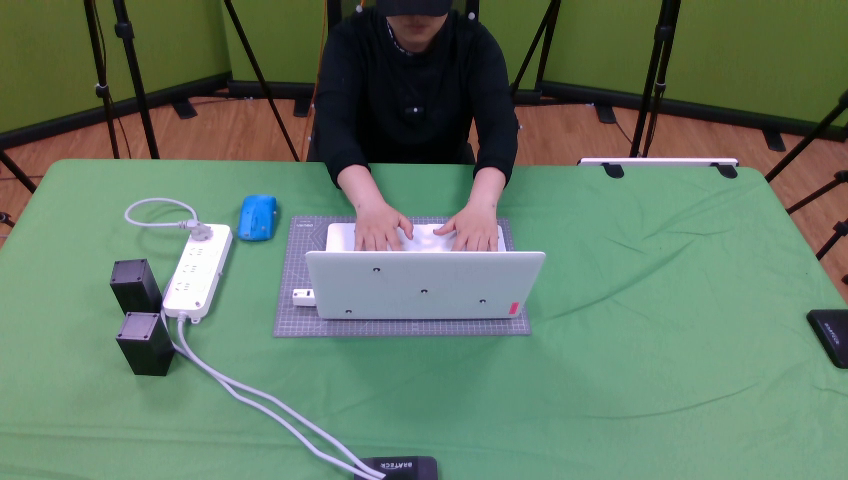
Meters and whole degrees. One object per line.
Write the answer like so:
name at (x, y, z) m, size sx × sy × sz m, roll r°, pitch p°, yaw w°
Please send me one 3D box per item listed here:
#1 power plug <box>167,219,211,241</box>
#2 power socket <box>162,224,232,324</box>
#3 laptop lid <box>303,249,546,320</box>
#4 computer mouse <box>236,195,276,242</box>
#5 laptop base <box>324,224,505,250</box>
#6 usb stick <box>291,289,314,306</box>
power plug at (-0.438, -0.017, 1.143) m, size 0.072 × 0.053 × 0.035 m, roll 9°, pitch 42°, yaw 7°
power socket at (-0.410, 0.052, 1.106) m, size 0.072 × 0.033 × 0.225 m, roll 4°, pitch 45°, yaw -1°
laptop lid at (-0.003, 0.077, 0.962) m, size 0.357 × 0.242 × 0.013 m, roll 1°, pitch 58°, yaw -5°
computer mouse at (-0.333, -0.047, 1.207) m, size 0.063 × 0.041 × 0.116 m, roll 3°, pitch 50°, yaw -4°
laptop base at (-0.014, 0.055, 1.144) m, size 0.355 × 0.023 × 0.234 m, roll 0°, pitch 42°, yaw -4°
usb stick at (-0.203, 0.102, 1.066) m, size 0.059 × 0.027 × 0.021 m, roll 4°, pitch 44°, yaw -5°
